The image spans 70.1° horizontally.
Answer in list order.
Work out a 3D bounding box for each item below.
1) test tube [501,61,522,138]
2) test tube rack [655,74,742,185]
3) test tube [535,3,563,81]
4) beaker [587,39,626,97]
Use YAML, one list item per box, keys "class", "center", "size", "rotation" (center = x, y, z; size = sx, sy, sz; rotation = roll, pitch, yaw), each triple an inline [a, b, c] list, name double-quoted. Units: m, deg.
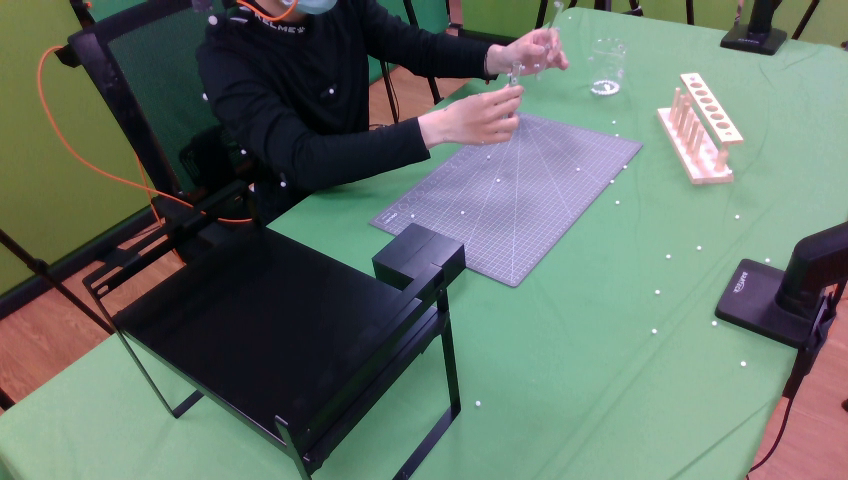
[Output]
- class: "test tube"
  center: [0.149, -0.239, 1.044]
  size: [0.017, 0.150, 0.017]
  rotation: [2, 47, -2]
- class: "test tube rack"
  center: [0.488, -0.205, 1.093]
  size: [0.067, 0.085, 0.241]
  rotation: [-3, 40, 5]
- class: "test tube"
  center: [0.229, -0.361, 1.113]
  size: [0.017, 0.151, 0.017]
  rotation: [6, 43, -5]
- class: "beaker"
  center: [0.386, -0.361, 1.280]
  size: [0.074, 0.101, 0.083]
  rotation: [-22, 43, -15]
